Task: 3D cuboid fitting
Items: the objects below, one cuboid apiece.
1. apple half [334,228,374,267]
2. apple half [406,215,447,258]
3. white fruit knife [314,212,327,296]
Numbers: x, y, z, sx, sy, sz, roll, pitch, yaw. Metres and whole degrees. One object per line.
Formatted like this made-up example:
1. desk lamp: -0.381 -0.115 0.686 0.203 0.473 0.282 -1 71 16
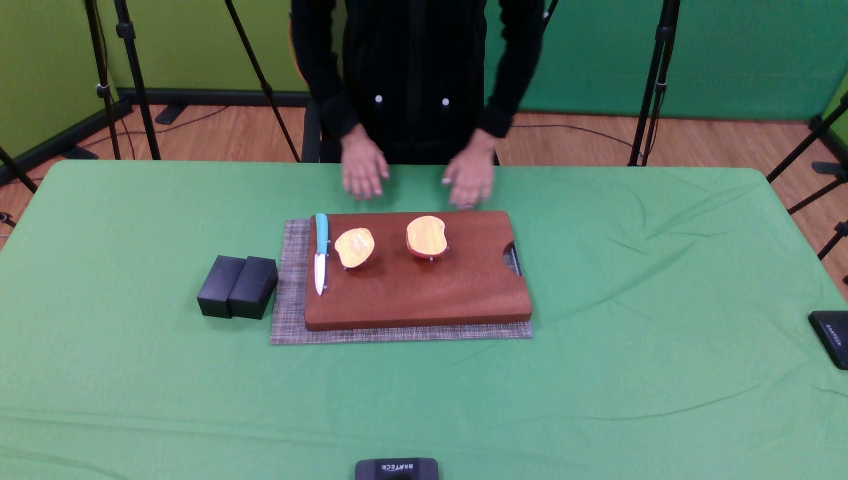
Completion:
1. apple half: -0.123 0.017 1.120 0.081 0.033 0.081 -8 62 15
2. apple half: 0.002 -0.001 1.136 0.075 0.053 0.080 -6 70 -14
3. white fruit knife: -0.193 0.022 1.128 0.027 0.016 0.206 -22 47 15
